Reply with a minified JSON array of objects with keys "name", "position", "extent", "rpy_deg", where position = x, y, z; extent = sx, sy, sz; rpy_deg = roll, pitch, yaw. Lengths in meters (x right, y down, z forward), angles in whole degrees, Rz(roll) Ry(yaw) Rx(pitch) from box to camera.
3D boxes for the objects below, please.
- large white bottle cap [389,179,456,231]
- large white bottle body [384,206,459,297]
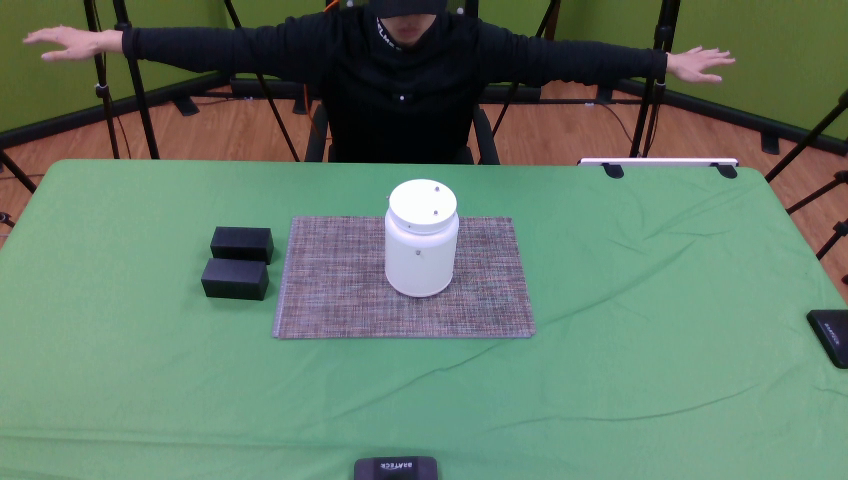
[{"name":"large white bottle cap","position":[-0.003,-0.061,1.020],"extent":[0.115,0.018,0.114],"rpy_deg":[2,46,-1]},{"name":"large white bottle body","position":[-0.006,-0.002,1.082],"extent":[0.131,0.185,0.130],"rpy_deg":[2,46,-2]}]
